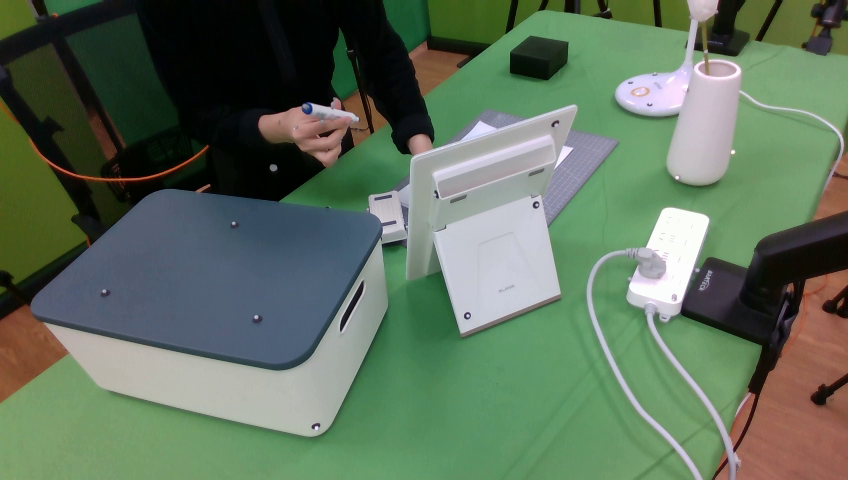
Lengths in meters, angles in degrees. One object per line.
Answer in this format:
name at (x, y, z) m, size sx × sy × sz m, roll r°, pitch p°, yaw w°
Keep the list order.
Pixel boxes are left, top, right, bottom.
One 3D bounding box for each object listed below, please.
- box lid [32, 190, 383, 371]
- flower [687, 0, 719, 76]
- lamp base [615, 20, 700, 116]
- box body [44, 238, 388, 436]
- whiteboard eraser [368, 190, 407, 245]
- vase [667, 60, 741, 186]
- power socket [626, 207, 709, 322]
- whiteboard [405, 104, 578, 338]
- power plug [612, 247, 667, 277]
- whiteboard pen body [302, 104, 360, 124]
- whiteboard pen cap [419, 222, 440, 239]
box lid at (-0.257, 0.032, 0.750) m, size 0.370 × 0.015 × 0.263 m, roll 7°, pitch 41°, yaw 16°
flower at (0.436, -0.242, 0.934) m, size 0.038 × 0.364 × 0.043 m, roll -24°, pitch 49°, yaw 9°
lamp base at (0.484, -0.364, 1.211) m, size 0.180 × 0.181 × 0.159 m, roll -15°, pitch 41°, yaw -14°
box body at (-0.251, 0.088, 0.799) m, size 0.362 × 0.161 × 0.254 m, roll 7°, pitch 42°, yaw 16°
whiteboard eraser at (-0.061, -0.035, 1.006) m, size 0.056 × 0.042 × 0.112 m, roll -9°, pitch 40°, yaw -3°
vase at (0.463, -0.189, 0.994) m, size 0.098 × 0.201 × 0.097 m, roll -4°, pitch 40°, yaw 4°
power socket at (0.360, 0.026, 0.886) m, size 0.072 × 0.033 × 0.227 m, roll 17°, pitch 46°, yaw 27°
whiteboard at (0.102, 0.003, 0.787) m, size 0.218 × 0.306 × 0.143 m, roll -19°, pitch 62°, yaw -14°
power plug at (0.306, 0.031, 0.852) m, size 0.072 × 0.053 × 0.035 m, roll 21°, pitch 48°, yaw 37°
whiteboard pen body at (-0.127, -0.177, 0.856) m, size 0.017 × 0.017 × 0.141 m, roll 14°, pitch 10°, yaw 23°
whiteboard pen cap at (0.009, -0.015, 0.990) m, size 0.033 × 0.018 × 0.018 m, roll -33°, pitch 46°, yaw -16°
